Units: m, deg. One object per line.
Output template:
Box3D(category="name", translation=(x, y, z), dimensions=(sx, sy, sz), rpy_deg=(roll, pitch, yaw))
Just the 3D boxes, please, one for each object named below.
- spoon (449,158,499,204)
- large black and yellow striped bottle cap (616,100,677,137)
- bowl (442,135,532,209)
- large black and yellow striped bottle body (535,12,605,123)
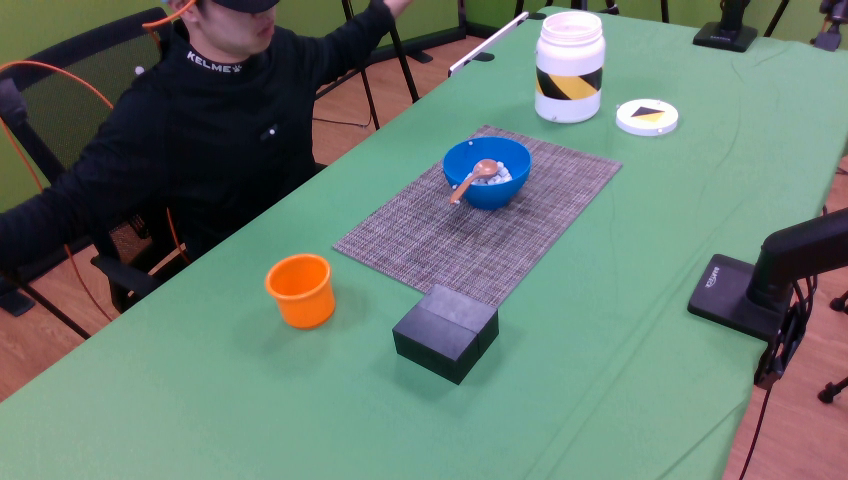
Box3D(category="spoon", translation=(0.076, -0.096, 0.967), dimensions=(0.041, 0.021, 0.194), rpy_deg=(14, 27, 20))
Box3D(category="large black and yellow striped bottle cap", translation=(0.438, -0.241, 1.190), dimensions=(0.115, 0.019, 0.114), rpy_deg=(-4, 42, 4))
Box3D(category="bowl", translation=(0.108, -0.106, 1.026), dimensions=(0.151, 0.077, 0.150), rpy_deg=(-4, 41, 4))
Box3D(category="large black and yellow striped bottle body", translation=(0.288, -0.341, 1.197), dimensions=(0.131, 0.185, 0.130), rpy_deg=(-4, 41, 4))
